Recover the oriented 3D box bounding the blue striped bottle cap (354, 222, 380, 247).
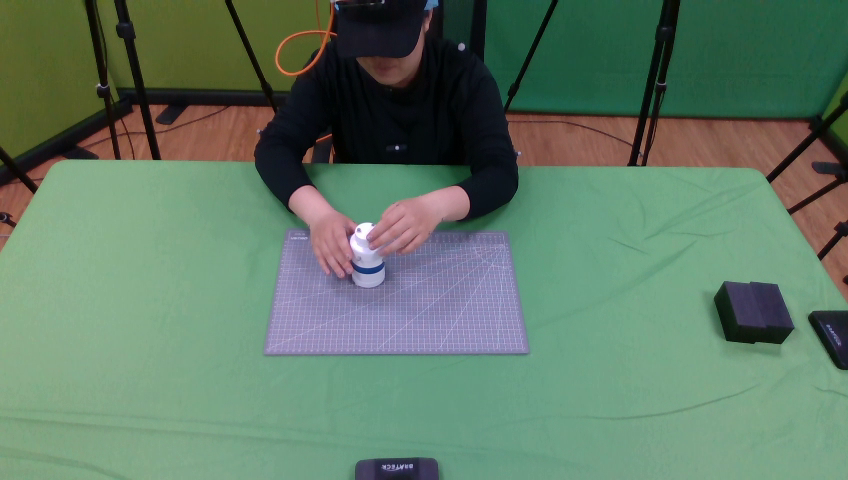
[{"bbox_3d":[-0.100,-0.010,1.057,0.044,0.021,0.044,1,46,-1],"label":"blue striped bottle cap"}]

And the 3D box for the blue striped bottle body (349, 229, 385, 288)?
[{"bbox_3d":[-0.103,0.026,1.093,0.063,0.121,0.062,2,46,-2],"label":"blue striped bottle body"}]
